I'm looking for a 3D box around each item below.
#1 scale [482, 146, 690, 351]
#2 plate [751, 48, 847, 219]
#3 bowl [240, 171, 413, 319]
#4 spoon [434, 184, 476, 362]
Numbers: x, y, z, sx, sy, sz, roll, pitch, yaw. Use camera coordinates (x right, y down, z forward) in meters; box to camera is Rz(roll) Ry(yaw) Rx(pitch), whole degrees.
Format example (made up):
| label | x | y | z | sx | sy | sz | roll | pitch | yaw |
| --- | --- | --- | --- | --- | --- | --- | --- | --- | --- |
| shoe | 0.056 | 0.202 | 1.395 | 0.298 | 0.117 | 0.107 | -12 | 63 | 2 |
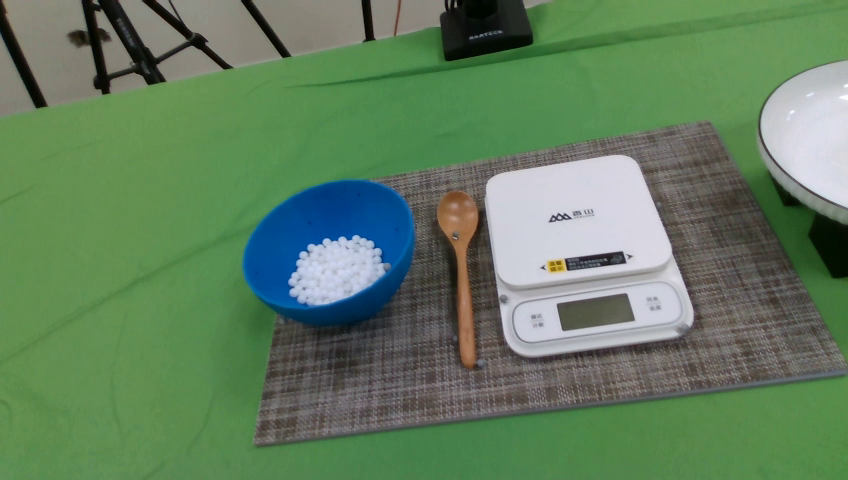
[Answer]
| label | x | y | z | sx | sy | sz | roll | pitch | yaw |
| --- | --- | --- | --- | --- | --- | --- | --- | --- | --- |
| scale | 0.133 | -0.001 | 0.534 | 0.148 | 0.032 | 0.199 | -10 | 48 | 7 |
| plate | 0.369 | -0.080 | 0.475 | 0.209 | 0.038 | 0.207 | -7 | 48 | 8 |
| bowl | -0.077 | 0.017 | 0.541 | 0.151 | 0.077 | 0.150 | -7 | 48 | 8 |
| spoon | 0.032 | 0.022 | 0.547 | 0.041 | 0.022 | 0.192 | 2 | 48 | -3 |
